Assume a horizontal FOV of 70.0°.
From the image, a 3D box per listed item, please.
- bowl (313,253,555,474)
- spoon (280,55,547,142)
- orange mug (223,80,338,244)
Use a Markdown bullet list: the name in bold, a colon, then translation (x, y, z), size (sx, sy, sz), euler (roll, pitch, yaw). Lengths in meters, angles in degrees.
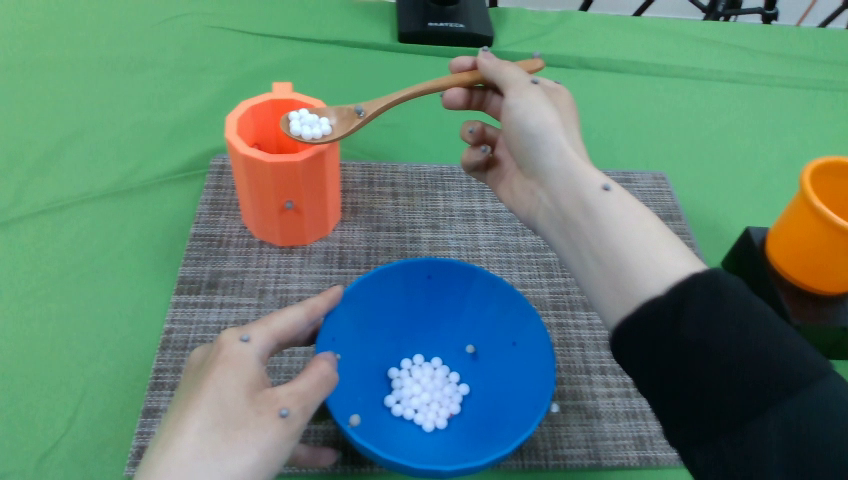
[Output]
- **bowl**: translation (0.004, 0.091, 0.402), size (0.151, 0.077, 0.150), euler (4, 49, -4)
- **spoon**: translation (-0.006, -0.103, 0.429), size (0.194, 0.022, 0.041), euler (-17, 43, 1)
- **orange mug**: translation (-0.119, -0.074, 0.515), size (0.084, 0.101, 0.125), euler (-5, 55, -11)
